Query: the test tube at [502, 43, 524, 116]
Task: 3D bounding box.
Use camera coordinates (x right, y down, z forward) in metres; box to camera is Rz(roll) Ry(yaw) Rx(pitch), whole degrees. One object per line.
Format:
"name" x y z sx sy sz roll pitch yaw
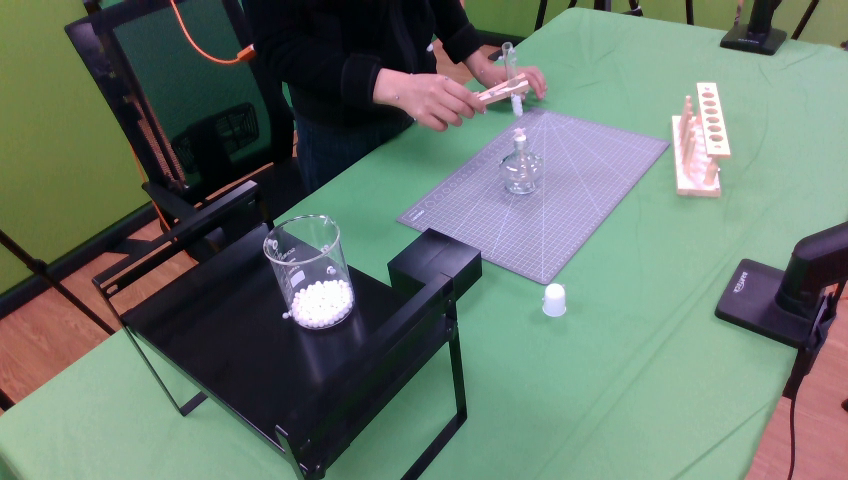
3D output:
"test tube" 0.137 -0.240 0.921 0.017 0.151 0.017 -7 60 13

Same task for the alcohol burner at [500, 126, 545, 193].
"alcohol burner" 0.168 -0.141 1.039 0.078 0.119 0.077 -6 41 5

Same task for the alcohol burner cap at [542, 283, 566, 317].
"alcohol burner cap" 0.181 0.081 0.839 0.034 0.048 0.033 -3 40 3

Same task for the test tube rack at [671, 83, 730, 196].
"test tube rack" 0.482 -0.184 1.067 0.066 0.085 0.242 5 42 15

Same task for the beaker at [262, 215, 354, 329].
"beaker" -0.112 0.034 0.616 0.073 0.101 0.084 13 44 23

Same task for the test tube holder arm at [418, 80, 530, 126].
"test tube holder arm" 0.076 -0.212 0.936 0.178 0.015 0.013 -18 56 9

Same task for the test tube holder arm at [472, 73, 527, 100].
"test tube holder arm" 0.117 -0.232 0.932 0.088 0.015 0.010 -24 56 6
